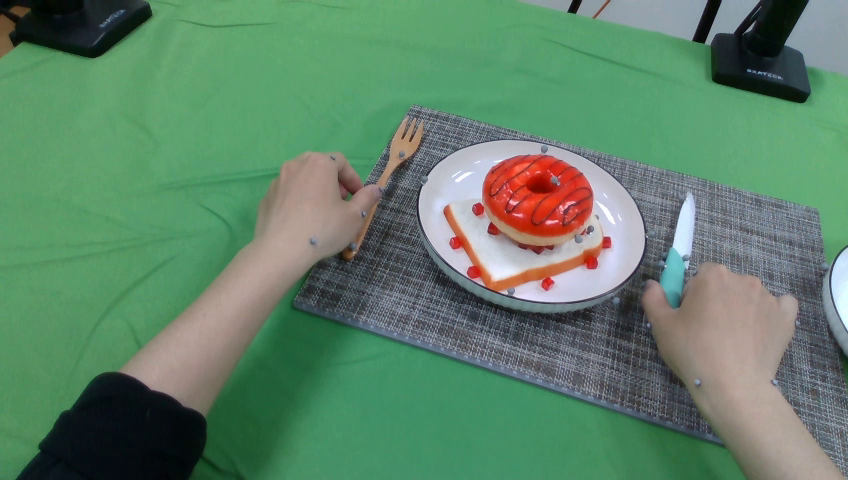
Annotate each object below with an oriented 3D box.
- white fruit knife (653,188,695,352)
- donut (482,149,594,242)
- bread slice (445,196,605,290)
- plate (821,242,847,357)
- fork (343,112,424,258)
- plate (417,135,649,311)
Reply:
[{"bbox_3d":[0.235,0.016,0.560,0.027,0.016,0.206,39,48,-10],"label":"white fruit knife"},{"bbox_3d":[0.099,-0.040,0.530,0.099,0.048,0.098,3,49,-3],"label":"donut"},{"bbox_3d":[0.097,-0.013,0.556,0.132,0.019,0.103,-15,53,-18],"label":"bread slice"},{"bbox_3d":[0.441,0.081,0.513,0.208,0.039,0.205,3,49,-3],"label":"plate"},{"bbox_3d":[-0.038,-0.060,0.592,0.028,0.019,0.206,23,48,-2],"label":"fork"},{"bbox_3d":[0.096,-0.018,0.557,0.209,0.038,0.207,3,49,-3],"label":"plate"}]
